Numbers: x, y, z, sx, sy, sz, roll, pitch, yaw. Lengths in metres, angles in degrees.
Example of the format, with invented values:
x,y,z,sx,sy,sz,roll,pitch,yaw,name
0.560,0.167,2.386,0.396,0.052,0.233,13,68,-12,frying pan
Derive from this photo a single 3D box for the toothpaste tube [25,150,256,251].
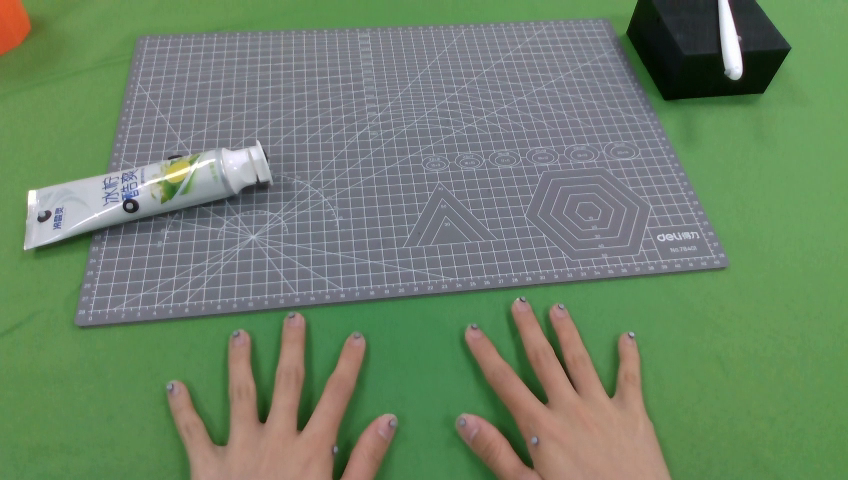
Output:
x,y,z,sx,sy,sz,roll,pitch,yaw,name
-0.200,-0.036,0.437,0.165,0.035,0.054,-15,52,-9,toothpaste tube

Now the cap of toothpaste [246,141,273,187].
x,y,z,sx,sy,sz,roll,pitch,yaw,name
-0.122,-0.056,0.448,0.011,0.037,0.037,-21,58,-18,cap of toothpaste

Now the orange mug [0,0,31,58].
x,y,z,sx,sy,sz,roll,pitch,yaw,name
-0.412,-0.202,0.502,0.083,0.101,0.126,30,54,17,orange mug

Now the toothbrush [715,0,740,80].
x,y,z,sx,sy,sz,roll,pitch,yaw,name
0.264,-0.204,0.535,0.014,0.017,0.180,11,55,2,toothbrush
